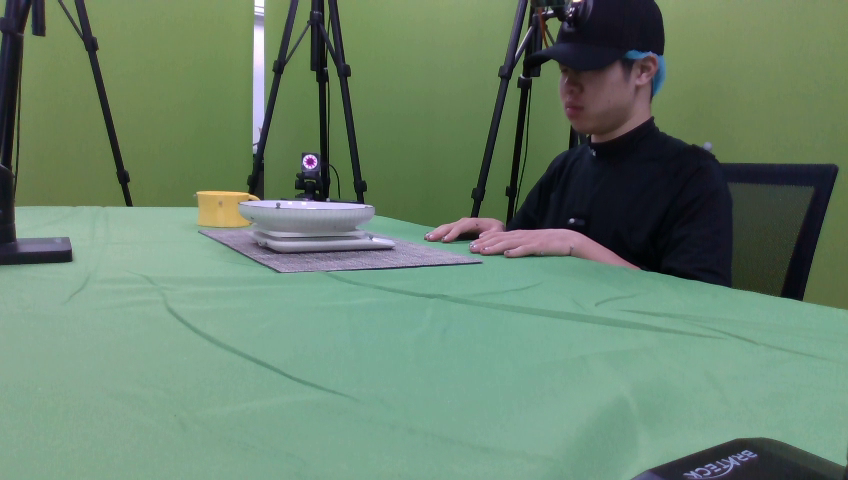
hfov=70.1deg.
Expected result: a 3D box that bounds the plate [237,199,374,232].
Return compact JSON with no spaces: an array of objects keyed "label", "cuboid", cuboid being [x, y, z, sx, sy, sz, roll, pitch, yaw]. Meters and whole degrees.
[{"label":"plate","cuboid":[-0.183,-0.039,0.941,0.209,0.038,0.209,3,7,0]}]

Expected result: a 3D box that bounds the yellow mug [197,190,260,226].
[{"label":"yellow mug","cuboid":[-0.389,-0.065,1.223,0.131,0.064,0.099,-1,8,-34]}]

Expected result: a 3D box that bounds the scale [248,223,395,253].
[{"label":"scale","cuboid":[-0.162,-0.006,0.954,0.202,0.031,0.148,-2,8,-32]}]
